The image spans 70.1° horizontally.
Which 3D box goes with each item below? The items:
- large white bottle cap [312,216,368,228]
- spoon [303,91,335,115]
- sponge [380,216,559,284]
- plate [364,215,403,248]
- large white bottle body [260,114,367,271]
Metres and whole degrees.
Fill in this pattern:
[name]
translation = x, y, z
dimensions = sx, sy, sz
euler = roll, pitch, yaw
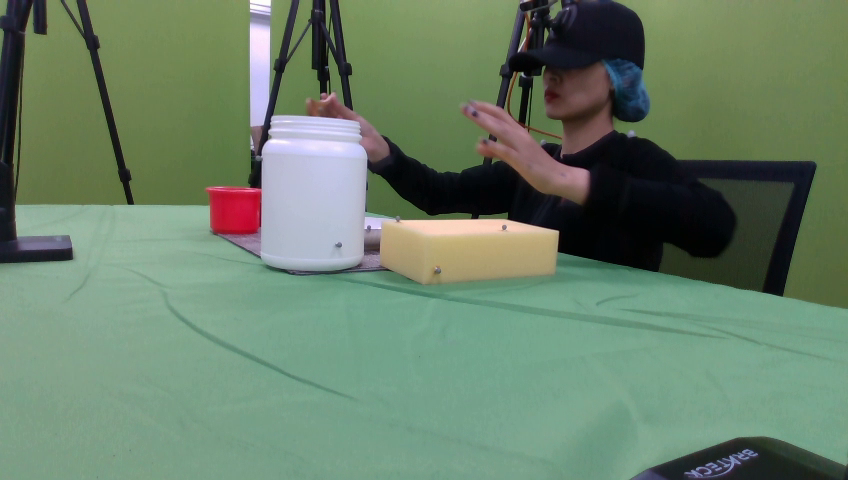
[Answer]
[large white bottle cap]
translation = -0.171, -0.038, 1.234
dimensions = 0.115, 0.018, 0.115
euler = 1, 5, 0
[spoon]
translation = -0.186, -0.249, 1.100
dimensions = 0.021, 0.041, 0.194
euler = -9, 20, 13
[sponge]
translation = 0.059, 0.008, 0.786
dimensions = 0.208, 0.061, 0.117
euler = -3, 11, -32
[plate]
translation = -0.122, -0.015, 0.984
dimensions = 0.209, 0.038, 0.209
euler = 2, 7, 0
[large white bottle body]
translation = -0.139, -0.062, 0.763
dimensions = 0.131, 0.184, 0.130
euler = 3, 8, 0
